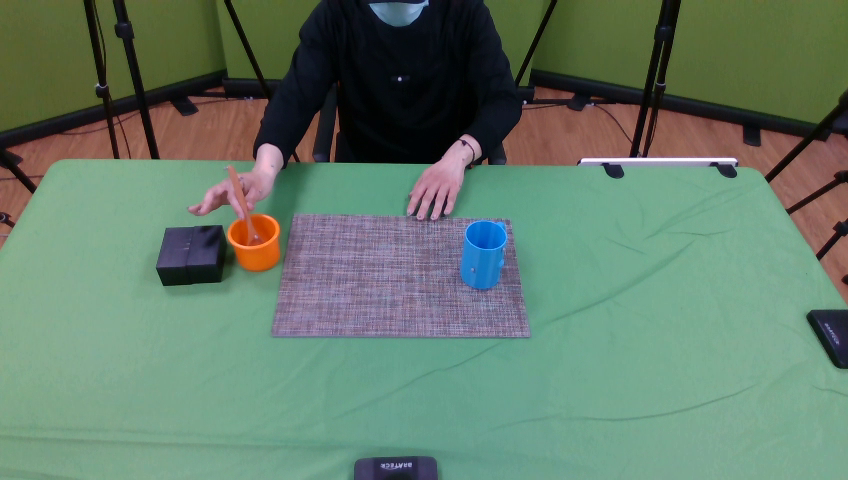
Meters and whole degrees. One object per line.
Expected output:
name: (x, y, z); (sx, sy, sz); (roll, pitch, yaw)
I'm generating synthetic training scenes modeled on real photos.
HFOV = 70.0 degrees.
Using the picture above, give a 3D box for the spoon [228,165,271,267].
spoon: (-0.321, -0.043, 1.103); (0.041, 0.194, 0.021); (-17, 18, -13)

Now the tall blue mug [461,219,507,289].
tall blue mug: (0.111, 0.016, 1.122); (0.078, 0.108, 0.106); (6, 46, 4)
